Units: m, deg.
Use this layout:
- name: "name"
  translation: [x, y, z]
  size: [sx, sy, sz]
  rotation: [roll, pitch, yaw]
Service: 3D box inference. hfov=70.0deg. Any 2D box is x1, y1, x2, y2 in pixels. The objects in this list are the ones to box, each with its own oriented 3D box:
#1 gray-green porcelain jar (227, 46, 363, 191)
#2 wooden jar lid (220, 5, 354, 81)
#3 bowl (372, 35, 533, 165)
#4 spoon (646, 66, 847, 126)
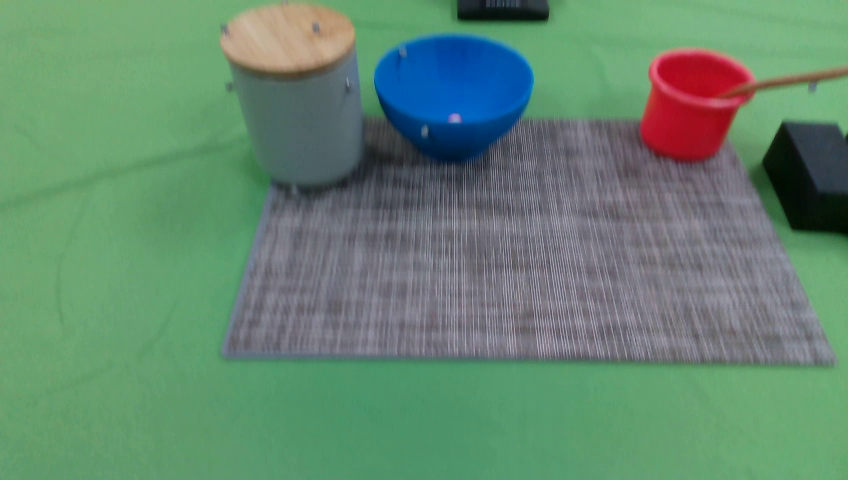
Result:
- name: "gray-green porcelain jar"
  translation: [-0.110, -0.116, 0.548]
  size: [0.106, 0.127, 0.105]
  rotation: [0, 47, 0]
- name: "wooden jar lid"
  translation: [-0.111, -0.160, 0.501]
  size: [0.108, 0.021, 0.107]
  rotation: [1, 47, -1]
- name: "bowl"
  translation: [0.026, -0.127, 0.592]
  size: [0.151, 0.077, 0.150]
  rotation: [0, 48, 0]
- name: "spoon"
  translation: [0.285, -0.130, 0.552]
  size: [0.041, 0.193, 0.022]
  rotation: [-33, 101, -24]
